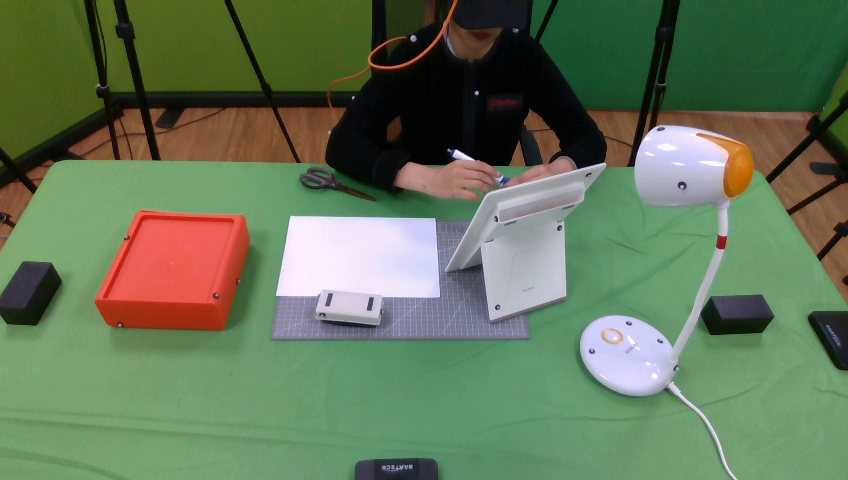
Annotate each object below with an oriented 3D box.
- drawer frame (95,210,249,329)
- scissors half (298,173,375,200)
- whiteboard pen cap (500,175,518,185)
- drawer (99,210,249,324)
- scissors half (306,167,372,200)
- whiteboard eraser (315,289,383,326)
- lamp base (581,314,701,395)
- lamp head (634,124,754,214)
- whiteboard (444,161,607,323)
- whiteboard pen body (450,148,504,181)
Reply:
[{"bbox_3d":[-0.434,0.048,1.076,0.202,0.083,0.212,2,47,-3],"label":"drawer frame"},{"bbox_3d":[-0.188,-0.110,1.296,0.175,0.013,0.040,15,42,5],"label":"scissors half"},{"bbox_3d":[0.167,-0.116,1.194,0.033,0.018,0.018,20,48,4],"label":"whiteboard pen cap"},{"bbox_3d":[-0.435,0.044,1.081,0.194,0.073,0.210,3,47,-2],"label":"drawer"},{"bbox_3d":[-0.180,-0.120,1.311,0.174,0.013,0.040,27,39,18],"label":"scissors half"},{"bbox_3d":[-0.130,0.119,1.054,0.113,0.042,0.055,6,47,1],"label":"whiteboard eraser"},{"bbox_3d":[0.361,0.145,0.972,0.178,0.181,0.160,34,53,23],"label":"lamp base"},{"bbox_3d":[0.351,-0.089,0.776,0.112,0.113,0.122,-30,30,-28],"label":"lamp head"},{"bbox_3d":[0.186,0.025,1.029,0.217,0.306,0.143,-14,68,-18],"label":"whiteboard"},{"bbox_3d":[0.114,-0.143,1.193,0.141,0.017,0.017,28,48,-4],"label":"whiteboard pen body"}]
